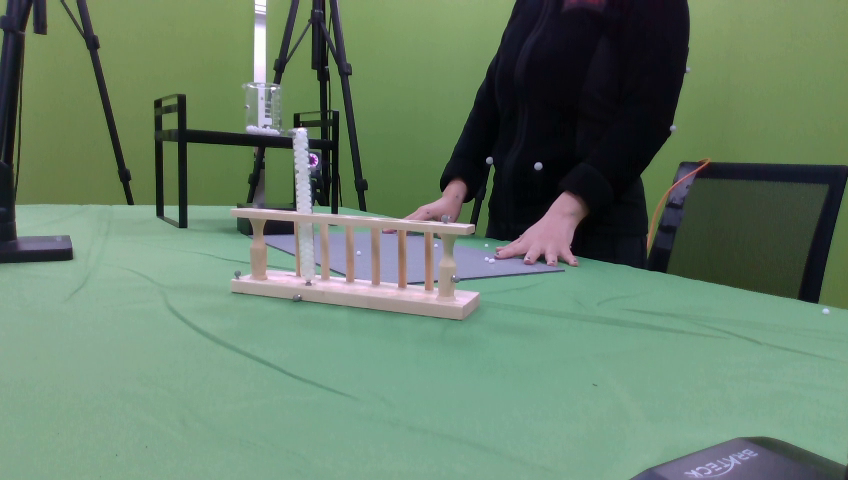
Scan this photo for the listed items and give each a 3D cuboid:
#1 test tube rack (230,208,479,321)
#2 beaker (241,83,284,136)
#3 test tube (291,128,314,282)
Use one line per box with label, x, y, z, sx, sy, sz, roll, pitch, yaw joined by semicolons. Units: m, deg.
test tube rack;-0.069;0.017;0.598;0.242;0.085;0.067;5;8;18
beaker;-0.323;-0.260;1.208;0.084;0.100;0.073;-4;9;-37
test tube;-0.118;-0.033;0.589;0.017;0.150;0.017;-2;8;1
